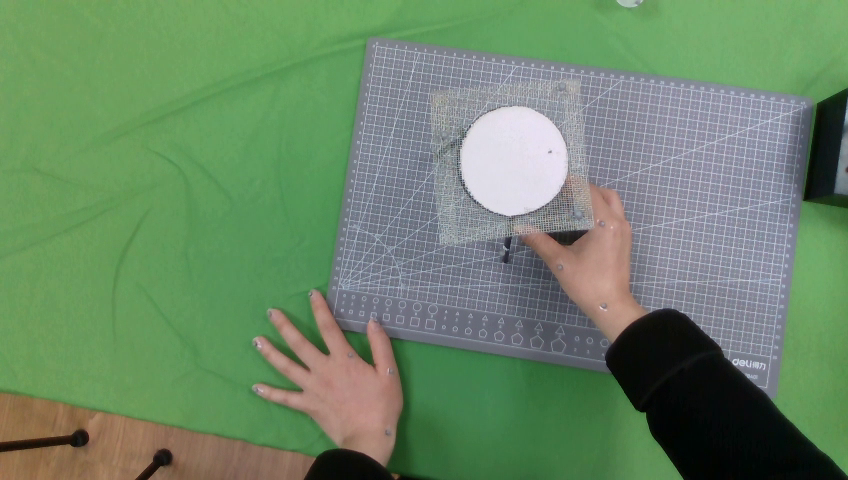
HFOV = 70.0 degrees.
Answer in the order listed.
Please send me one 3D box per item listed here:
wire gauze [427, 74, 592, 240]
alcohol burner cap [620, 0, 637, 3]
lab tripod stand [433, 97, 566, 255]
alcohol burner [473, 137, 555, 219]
[{"bbox_3d":[0.066,-0.066,0.476,0.121,0.011,0.125,-4,89,1],"label":"wire gauze"},{"bbox_3d":[0.206,-0.259,0.595,0.034,0.048,0.034,0,87,5],"label":"alcohol burner cap"},{"bbox_3d":[0.072,-0.061,0.542,0.148,0.131,0.148,0,88,1],"label":"lab tripod stand"},{"bbox_3d":[0.083,-0.059,0.552,0.078,0.119,0.077,0,85,3],"label":"alcohol burner"}]
